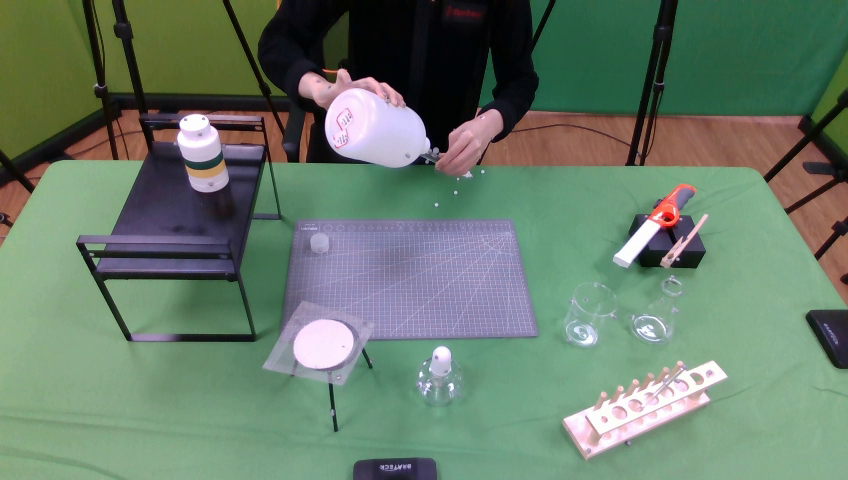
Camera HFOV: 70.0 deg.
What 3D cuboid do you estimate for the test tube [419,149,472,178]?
[{"bbox_3d":[0.042,-0.138,1.092,0.151,0.017,0.017,17,27,-50],"label":"test tube"}]

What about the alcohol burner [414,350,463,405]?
[{"bbox_3d":[0.023,0.205,0.939,0.078,0.120,0.077,1,48,-1],"label":"alcohol burner"}]

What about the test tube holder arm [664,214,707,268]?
[{"bbox_3d":[0.507,-0.001,1.171,0.013,0.015,0.178,34,54,26],"label":"test tube holder arm"}]

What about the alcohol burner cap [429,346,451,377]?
[{"bbox_3d":[0.026,0.180,0.912,0.034,0.048,0.033,1,47,-1],"label":"alcohol burner cap"}]

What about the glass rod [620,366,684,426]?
[{"bbox_3d":[0.323,0.227,0.866,0.008,0.200,0.008,5,51,-6],"label":"glass rod"}]

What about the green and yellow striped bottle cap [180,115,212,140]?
[{"bbox_3d":[-0.358,-0.177,0.951,0.045,0.020,0.045,2,45,-2],"label":"green and yellow striped bottle cap"}]

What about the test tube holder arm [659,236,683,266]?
[{"bbox_3d":[0.472,0.020,1.149,0.010,0.015,0.088,35,54,27],"label":"test tube holder arm"}]

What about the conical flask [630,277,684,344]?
[{"bbox_3d":[0.408,0.117,1.045,0.075,0.122,0.075,2,46,-2],"label":"conical flask"}]

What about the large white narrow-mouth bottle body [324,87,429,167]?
[{"bbox_3d":[-0.059,-0.169,0.956,0.101,0.102,0.195,43,20,31],"label":"large white narrow-mouth bottle body"}]

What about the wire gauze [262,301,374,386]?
[{"bbox_3d":[-0.150,0.148,0.873,0.121,0.011,0.124,14,46,12],"label":"wire gauze"}]

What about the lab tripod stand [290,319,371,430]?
[{"bbox_3d":[-0.146,0.193,0.923,0.148,0.132,0.147,1,47,-1],"label":"lab tripod stand"}]

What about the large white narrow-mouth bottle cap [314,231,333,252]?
[{"bbox_3d":[-0.195,0.003,1.178,0.038,0.024,0.037,2,45,-2],"label":"large white narrow-mouth bottle cap"}]

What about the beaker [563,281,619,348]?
[{"bbox_3d":[0.283,0.129,1.041,0.074,0.101,0.083,11,46,6],"label":"beaker"}]

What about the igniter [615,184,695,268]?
[{"bbox_3d":[0.459,-0.035,1.197,0.057,0.025,0.276,33,55,27],"label":"igniter"}]

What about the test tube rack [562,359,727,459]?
[{"bbox_3d":[0.341,0.247,0.940,0.243,0.085,0.066,-16,49,-18],"label":"test tube rack"}]

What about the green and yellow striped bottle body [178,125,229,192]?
[{"bbox_3d":[-0.361,-0.142,0.989,0.063,0.120,0.063,2,46,-2],"label":"green and yellow striped bottle body"}]
